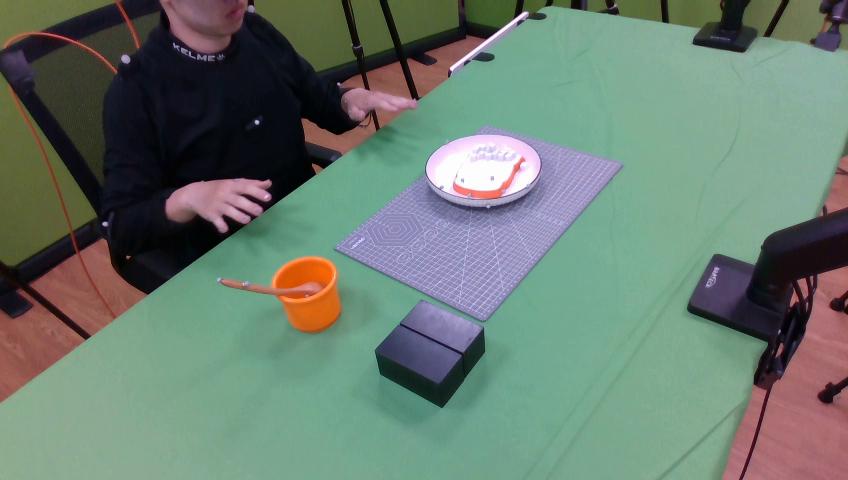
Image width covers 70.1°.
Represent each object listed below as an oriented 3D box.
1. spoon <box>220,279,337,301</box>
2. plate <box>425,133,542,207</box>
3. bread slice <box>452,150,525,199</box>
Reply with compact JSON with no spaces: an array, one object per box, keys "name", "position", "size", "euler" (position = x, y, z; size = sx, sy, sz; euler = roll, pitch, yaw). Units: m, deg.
[{"name":"spoon","position":[-0.189,0.068,0.813],"size":[0.041,0.021,0.195],"euler":[33,15,36]},{"name":"plate","position":[0.106,-0.121,1.079],"size":[0.209,0.038,0.208],"euler":[-4,41,4]},{"name":"bread slice","position":[0.112,-0.118,1.079],"size":[0.104,0.019,0.131],"euler":[12,43,21]}]
